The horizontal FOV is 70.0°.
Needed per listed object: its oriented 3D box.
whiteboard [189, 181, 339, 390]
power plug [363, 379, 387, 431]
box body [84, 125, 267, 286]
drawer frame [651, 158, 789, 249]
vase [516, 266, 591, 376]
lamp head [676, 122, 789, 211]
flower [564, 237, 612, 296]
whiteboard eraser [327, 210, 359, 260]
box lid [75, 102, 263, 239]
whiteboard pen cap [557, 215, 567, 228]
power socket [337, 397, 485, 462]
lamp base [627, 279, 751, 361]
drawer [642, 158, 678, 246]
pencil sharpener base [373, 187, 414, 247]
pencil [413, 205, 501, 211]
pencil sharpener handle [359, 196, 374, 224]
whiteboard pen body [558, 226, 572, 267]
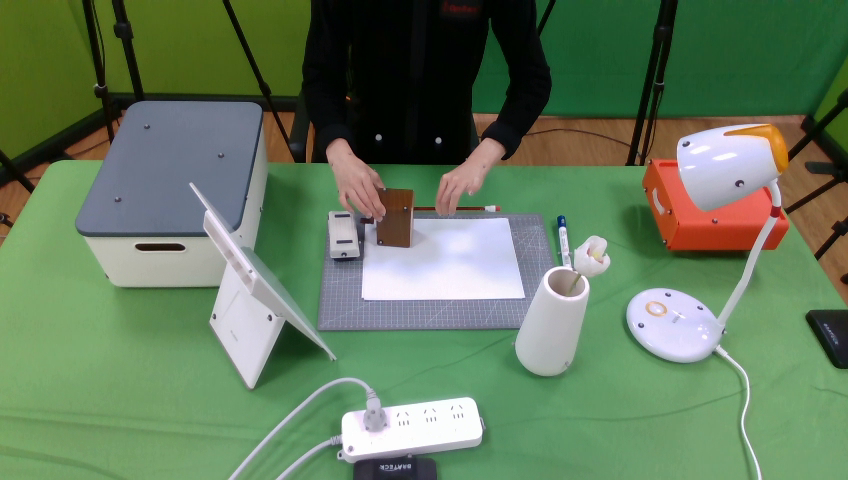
[{"bbox_3d":[-0.292,0.096,0.929,0.144,0.307,0.216,-37,57,-10],"label":"whiteboard"},{"bbox_3d":[-0.072,0.252,0.910,0.035,0.053,0.072,3,45,-1],"label":"power plug"},{"bbox_3d":[-0.446,-0.088,1.150,0.254,0.161,0.361,-1,46,-5],"label":"box body"},{"bbox_3d":[0.571,-0.075,1.214,0.214,0.083,0.200,0,46,-1],"label":"drawer frame"},{"bbox_3d":[0.208,0.132,0.964,0.098,0.201,0.097,3,46,-3],"label":"vase"},{"bbox_3d":[0.423,-0.104,0.819,0.122,0.113,0.112,-13,33,40],"label":"lamp head"},{"bbox_3d":[0.206,0.088,0.893,0.038,0.363,0.044,-17,67,-9],"label":"flower"},{"bbox_3d":[-0.158,-0.009,1.177,0.055,0.042,0.112,-6,47,-7],"label":"whiteboard eraser"},{"bbox_3d":[-0.443,-0.138,1.094,0.263,0.015,0.369,-1,47,-5],"label":"box lid"},{"bbox_3d":[0.284,-0.035,1.246,0.018,0.018,0.033,4,52,-1],"label":"whiteboard pen cap"},{"bbox_3d":[-0.018,0.285,0.915,0.227,0.033,0.071,-5,46,-8],"label":"power socket"},{"bbox_3d":[0.460,0.100,1.027,0.178,0.181,0.160,27,51,17],"label":"lamp base"},{"bbox_3d":[0.566,-0.076,1.211,0.212,0.073,0.193,2,45,-2],"label":"drawer"},{"bbox_3d":[-0.060,-0.044,1.171,0.077,0.107,0.061,4,46,0],"label":"pencil sharpener base"},{"bbox_3d":[0.048,-0.060,1.150,0.194,0.012,0.012,0,46,2],"label":"pencil"},{"bbox_3d":[-0.110,-0.056,1.163,0.030,0.068,0.036,4,48,0],"label":"pencil sharpener handle"},{"bbox_3d":[0.280,0.010,1.208,0.017,0.017,0.140,3,50,-1],"label":"whiteboard pen body"}]
